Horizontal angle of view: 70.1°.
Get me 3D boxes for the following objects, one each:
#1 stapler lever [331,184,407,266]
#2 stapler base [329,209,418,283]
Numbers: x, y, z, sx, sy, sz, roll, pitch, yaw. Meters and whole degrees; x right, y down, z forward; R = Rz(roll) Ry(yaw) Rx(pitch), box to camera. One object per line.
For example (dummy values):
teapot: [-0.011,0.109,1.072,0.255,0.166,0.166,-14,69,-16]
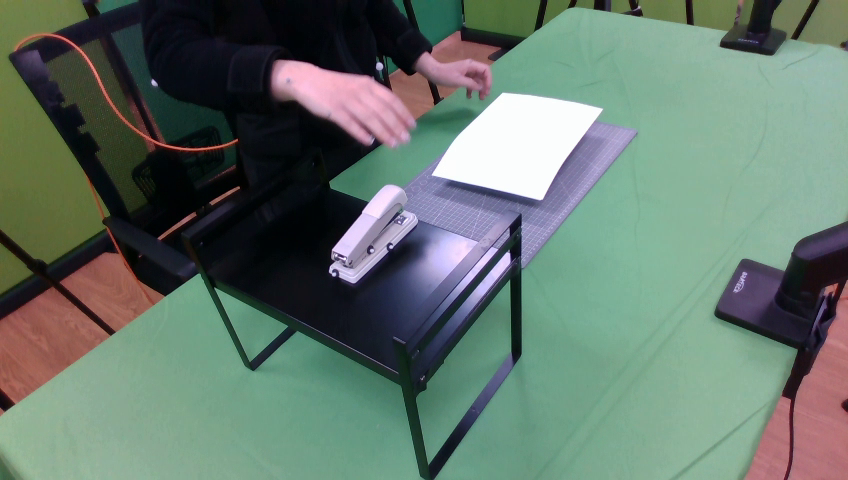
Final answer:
stapler lever: [-0.061,-0.020,0.690,0.026,0.040,0.118,18,48,31]
stapler base: [-0.058,-0.002,0.708,0.041,0.024,0.131,19,48,31]
